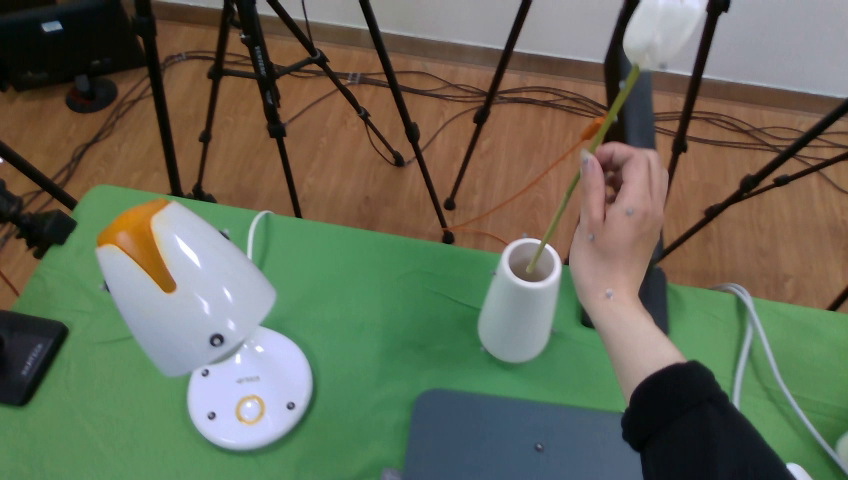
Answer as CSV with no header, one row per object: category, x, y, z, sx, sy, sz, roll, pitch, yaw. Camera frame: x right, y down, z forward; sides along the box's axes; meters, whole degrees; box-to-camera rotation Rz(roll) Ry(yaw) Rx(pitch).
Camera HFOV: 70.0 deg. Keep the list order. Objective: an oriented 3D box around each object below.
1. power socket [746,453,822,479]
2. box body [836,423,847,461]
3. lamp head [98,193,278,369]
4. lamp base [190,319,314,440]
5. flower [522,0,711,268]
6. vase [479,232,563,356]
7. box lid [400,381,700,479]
power socket,0.478,0.355,0.701,0.072,0.033,0.224,-24,60,-16
box body,0.705,0.287,0.671,0.254,0.162,0.360,-28,61,-18
lamp head,-0.197,0.023,0.488,0.112,0.124,0.111,-27,20,11
lamp base,-0.231,0.133,0.745,0.161,0.182,0.177,-16,56,-11
flower,0.139,-0.066,0.531,0.044,0.364,0.038,-15,62,-19
vase,0.127,0.073,0.780,0.098,0.201,0.097,1,56,-1
box lid,0.154,0.315,0.734,0.371,0.015,0.261,6,57,3
